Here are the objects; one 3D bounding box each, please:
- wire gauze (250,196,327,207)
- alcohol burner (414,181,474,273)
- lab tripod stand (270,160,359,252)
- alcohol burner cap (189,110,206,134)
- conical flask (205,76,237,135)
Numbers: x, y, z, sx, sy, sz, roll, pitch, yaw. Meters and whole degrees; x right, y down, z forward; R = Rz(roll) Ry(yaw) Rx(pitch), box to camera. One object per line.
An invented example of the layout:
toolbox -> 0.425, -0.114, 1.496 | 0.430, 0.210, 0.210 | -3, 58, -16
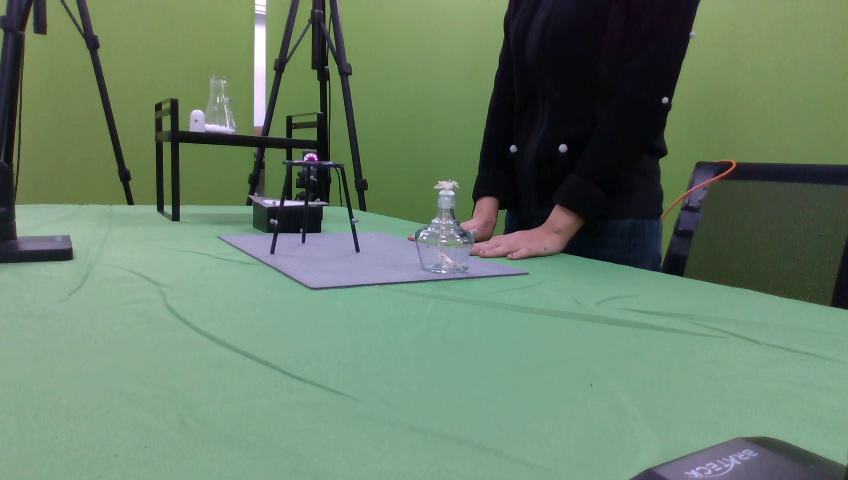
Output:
wire gauze -> -0.259, -0.073, 1.150 | 0.122, 0.011, 0.124 | 0, 8, -32
alcohol burner -> 0.027, -0.017, 0.773 | 0.078, 0.119, 0.078 | 4, 6, 0
lab tripod stand -> -0.166, -0.051, 0.892 | 0.148, 0.131, 0.148 | 3, 9, 0
alcohol burner cap -> -0.464, -0.242, 1.240 | 0.034, 0.048, 0.034 | 5, 7, 0
conical flask -> -0.443, -0.290, 1.309 | 0.075, 0.122, 0.075 | 3, 7, 0
